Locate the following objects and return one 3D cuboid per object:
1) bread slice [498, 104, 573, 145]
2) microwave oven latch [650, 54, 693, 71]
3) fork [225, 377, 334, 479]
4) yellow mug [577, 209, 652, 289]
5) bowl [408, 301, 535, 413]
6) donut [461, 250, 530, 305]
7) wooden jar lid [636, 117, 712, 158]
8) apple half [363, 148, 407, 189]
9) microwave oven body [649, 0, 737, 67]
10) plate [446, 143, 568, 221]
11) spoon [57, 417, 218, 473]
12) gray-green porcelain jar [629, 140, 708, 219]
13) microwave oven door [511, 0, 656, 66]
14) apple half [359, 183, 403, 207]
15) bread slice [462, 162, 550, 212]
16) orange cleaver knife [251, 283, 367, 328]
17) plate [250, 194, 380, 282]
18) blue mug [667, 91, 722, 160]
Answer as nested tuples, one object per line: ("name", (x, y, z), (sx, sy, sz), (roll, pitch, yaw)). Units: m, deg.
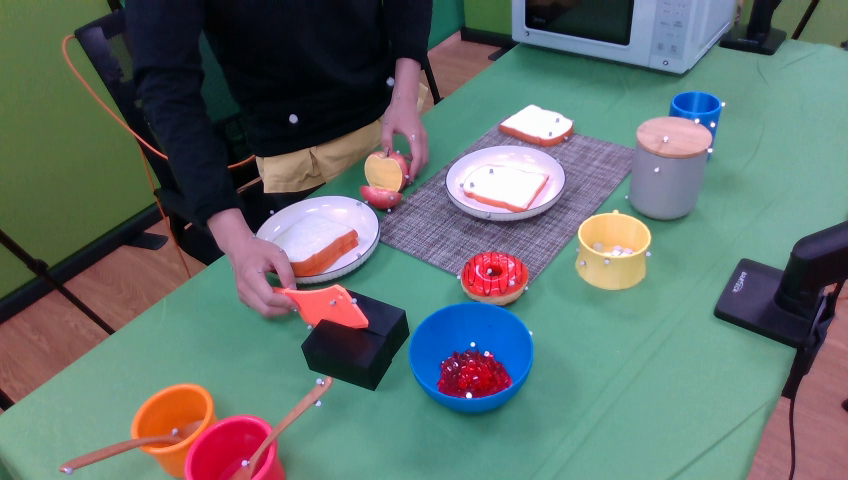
("bread slice", (0.231, -0.231, 1.205), (0.105, 0.019, 0.130), (-36, 47, -29))
("microwave oven latch", (0.531, -0.386, 1.301), (0.078, 0.029, 0.030), (26, 51, 33))
("fork", (-0.163, 0.216, 0.646), (0.207, 0.019, 0.028), (-49, 42, 16))
("yellow mug", (0.279, 0.004, 0.893), (0.099, 0.064, 0.130), (5, 41, 15))
("bowl", (0.060, 0.156, 0.739), (0.151, 0.077, 0.150), (-4, 40, 4))
("donut", (0.103, 0.053, 0.872), (0.099, 0.048, 0.098), (-4, 40, 4))
("wooden jar lid", (0.377, -0.151, 0.917), (0.108, 0.021, 0.108), (-2, 42, 3))
("apple half", (-0.065, -0.129, 1.092), (0.080, 0.075, 0.053), (11, 29, 23))
("microwave oven body", (0.475, -0.602, 1.411), (0.438, 0.261, 0.327), (23, 50, 32))
("plate", (0.142, -0.096, 1.045), (0.207, 0.039, 0.206), (-4, 40, 4))
("spoon", (-0.304, 0.221, 0.661), (0.041, 0.195, 0.021), (19, 92, 27))
("gray-green porcelain jar", (0.383, -0.105, 0.958), (0.106, 0.127, 0.105), (-4, 41, 4))
("microwave oven door", (0.351, -0.539, 1.349), (0.353, 0.245, 0.039), (24, 50, 31))
("apple half", (-0.076, -0.073, 1.051), (0.081, 0.082, 0.032), (9, 83, 18))
("bread slice", (0.135, -0.094, 1.045), (0.133, 0.018, 0.107), (15, 45, 23))
("orange cleaver knife", (-0.160, 0.088, 0.825), (0.210, 0.077, 0.012), (-1, 32, 40))
("plate", (-0.174, -0.001, 0.984), (0.209, 0.038, 0.208), (-3, 40, 3))
("blue mug", (0.474, -0.207, 1.079), (0.082, 0.106, 0.116), (4, 42, 13))
